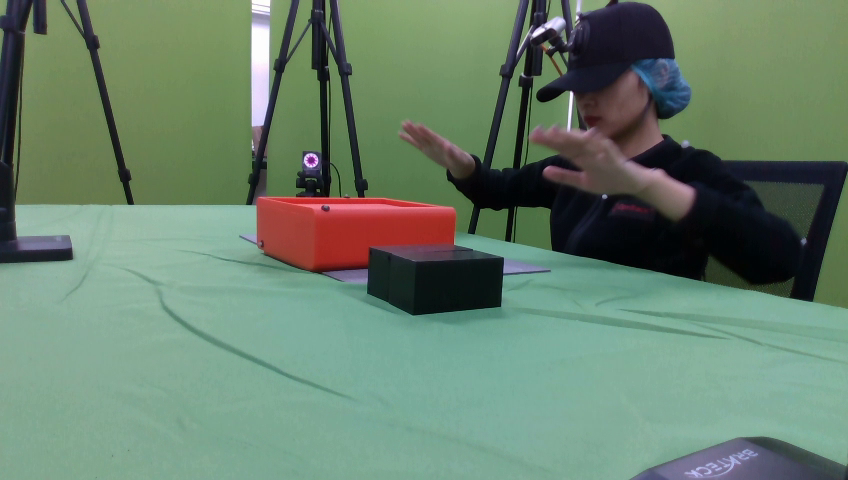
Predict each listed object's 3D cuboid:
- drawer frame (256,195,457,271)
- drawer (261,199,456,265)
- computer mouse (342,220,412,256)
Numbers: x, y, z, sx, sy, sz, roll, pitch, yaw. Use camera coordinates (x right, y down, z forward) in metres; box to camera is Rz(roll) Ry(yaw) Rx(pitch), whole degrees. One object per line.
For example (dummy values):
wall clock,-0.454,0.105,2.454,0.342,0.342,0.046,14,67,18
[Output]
drawer frame,-0.097,-0.017,0.843,0.215,0.082,0.200,-4,10,-35
drawer,-0.094,-0.017,0.844,0.213,0.073,0.193,-3,10,-34
computer mouse,-0.067,-0.004,0.853,0.063,0.041,0.116,1,13,-33
